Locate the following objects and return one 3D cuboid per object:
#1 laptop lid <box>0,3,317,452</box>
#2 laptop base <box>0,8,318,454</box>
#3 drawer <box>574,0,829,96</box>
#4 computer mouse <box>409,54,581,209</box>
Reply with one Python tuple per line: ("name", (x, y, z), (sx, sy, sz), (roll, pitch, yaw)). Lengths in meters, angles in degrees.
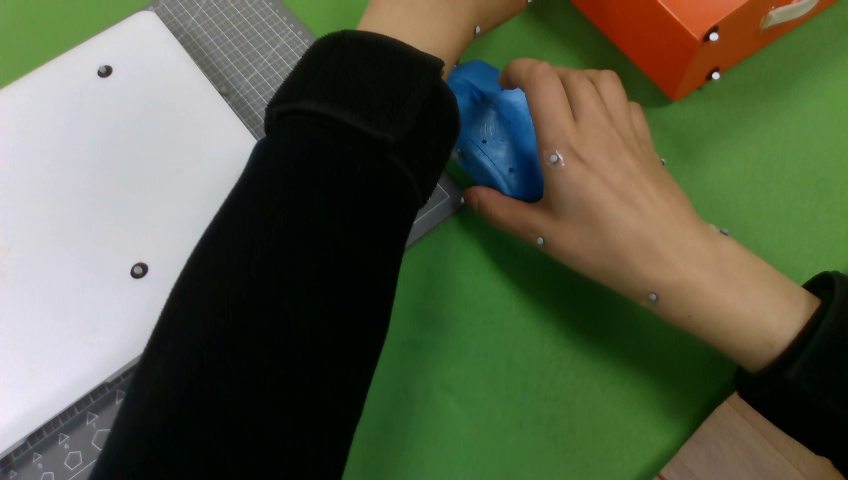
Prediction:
("laptop lid", (-0.270, 0.009, 0.371), (0.356, 0.013, 0.240), (-35, 70, -11))
("laptop base", (-0.270, 0.012, 0.383), (0.354, 0.023, 0.234), (-36, 72, -11))
("drawer", (0.186, -0.230, 0.420), (0.194, 0.074, 0.210), (-32, 68, -8))
("computer mouse", (0.043, -0.075, 0.388), (0.063, 0.041, 0.116), (-36, 64, -9))
